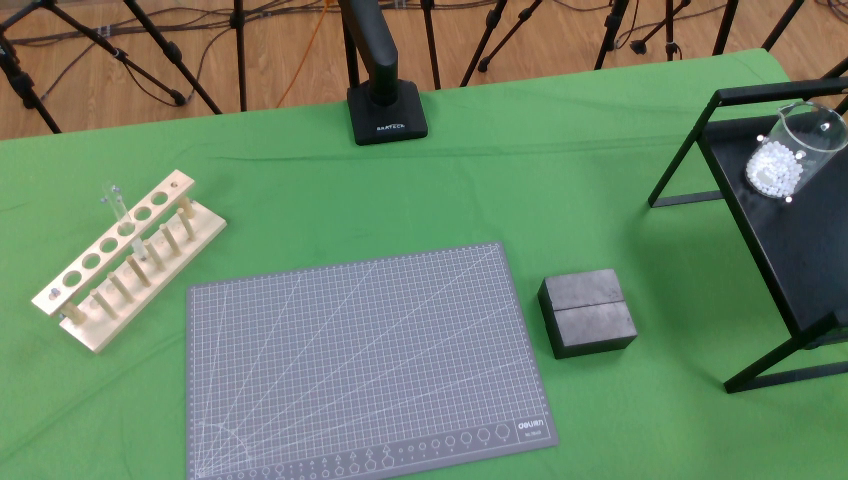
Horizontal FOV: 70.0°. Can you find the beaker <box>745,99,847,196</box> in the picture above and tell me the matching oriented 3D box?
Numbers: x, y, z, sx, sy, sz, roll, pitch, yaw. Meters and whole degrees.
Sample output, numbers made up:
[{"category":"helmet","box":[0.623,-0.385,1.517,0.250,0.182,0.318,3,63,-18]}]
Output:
[{"category":"beaker","box":[0.433,-0.106,0.715,0.083,0.101,0.074,37,65,17]}]

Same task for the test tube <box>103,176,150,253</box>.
[{"category":"test tube","box":[-0.380,-0.029,0.779,0.017,0.151,0.017,3,55,-4]}]

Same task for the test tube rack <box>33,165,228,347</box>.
[{"category":"test tube rack","box":[-0.380,0.018,0.810,0.066,0.086,0.241,32,63,14]}]
